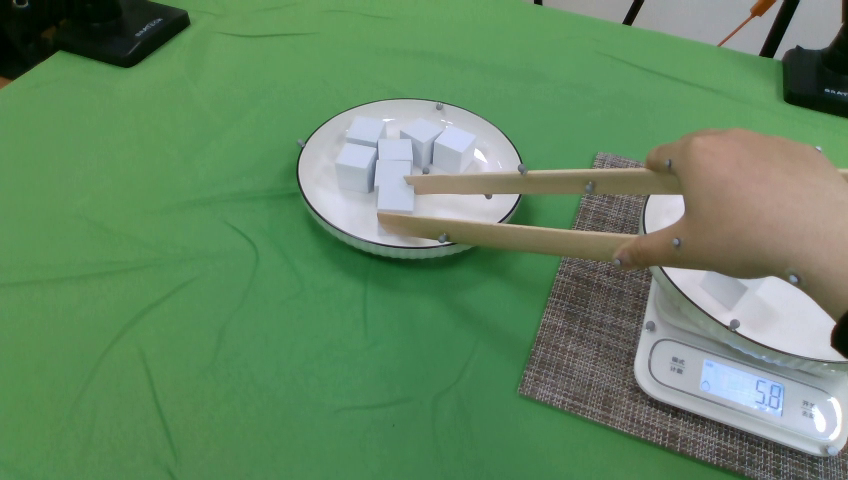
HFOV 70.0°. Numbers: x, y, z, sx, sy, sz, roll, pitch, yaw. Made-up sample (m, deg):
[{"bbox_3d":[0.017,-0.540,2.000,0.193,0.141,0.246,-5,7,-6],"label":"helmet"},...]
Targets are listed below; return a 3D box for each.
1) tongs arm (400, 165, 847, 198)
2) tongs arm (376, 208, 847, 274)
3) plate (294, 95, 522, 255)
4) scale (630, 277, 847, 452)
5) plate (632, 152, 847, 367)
[{"bbox_3d":[0.133,-0.029,0.410,0.382,0.027,0.050,2,49,35],"label":"tongs arm"},{"bbox_3d":[0.120,-0.006,0.395,0.385,0.028,0.028,5,47,36],"label":"tongs arm"},{"bbox_3d":[-0.013,-0.061,0.564,0.209,0.038,0.207,3,48,-2],"label":"plate"},{"bbox_3d":[0.253,0.054,0.481,0.148,0.032,0.200,19,50,13],"label":"scale"},{"bbox_3d":[0.265,0.012,0.475,0.208,0.039,0.205,3,49,-3],"label":"plate"}]
